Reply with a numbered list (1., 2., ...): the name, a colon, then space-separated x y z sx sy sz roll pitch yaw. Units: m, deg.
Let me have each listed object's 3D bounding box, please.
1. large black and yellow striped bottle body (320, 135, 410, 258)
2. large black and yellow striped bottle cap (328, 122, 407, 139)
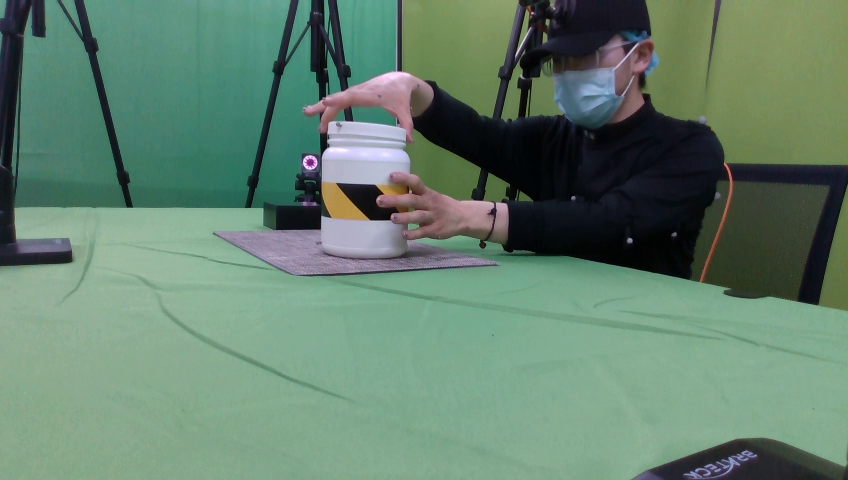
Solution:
1. large black and yellow striped bottle body: -0.086 -0.072 0.893 0.131 0.184 0.130 2 7 0
2. large black and yellow striped bottle cap: -0.082 -0.158 0.881 0.115 0.019 0.115 2 6 0
